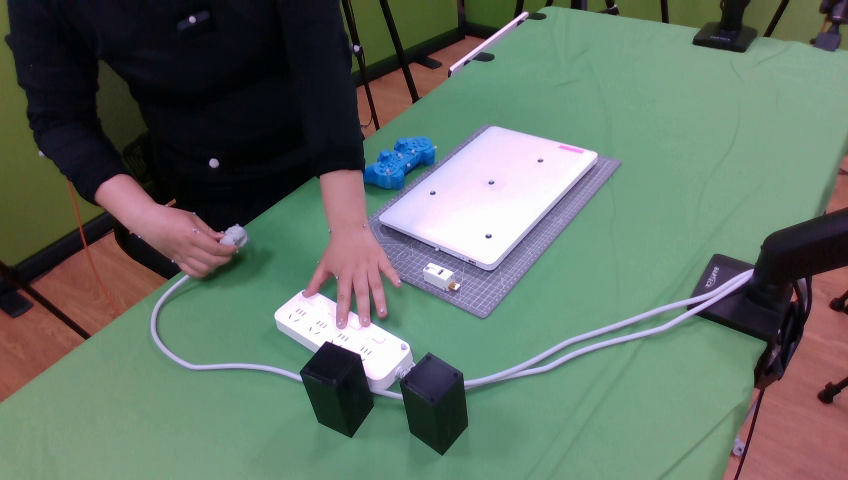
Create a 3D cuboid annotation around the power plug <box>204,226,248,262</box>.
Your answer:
[{"bbox_3d":[-0.315,0.004,0.959,0.072,0.035,0.052,-22,5,-2],"label":"power plug"}]

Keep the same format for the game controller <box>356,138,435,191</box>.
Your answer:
[{"bbox_3d":[-0.049,-0.150,1.136,0.096,0.052,0.155,27,51,28],"label":"game controller"}]

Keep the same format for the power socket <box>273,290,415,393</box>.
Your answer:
[{"bbox_3d":[-0.115,0.133,0.820,0.225,0.033,0.072,24,47,32],"label":"power socket"}]

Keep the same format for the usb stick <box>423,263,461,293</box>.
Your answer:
[{"bbox_3d":[0.028,0.058,0.889,0.059,0.027,0.021,25,47,29],"label":"usb stick"}]

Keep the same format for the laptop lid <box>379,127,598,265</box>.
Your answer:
[{"bbox_3d":[0.117,-0.095,1.048,0.239,0.013,0.358,23,49,34],"label":"laptop lid"}]

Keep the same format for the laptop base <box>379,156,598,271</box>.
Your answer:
[{"bbox_3d":[0.120,-0.085,1.054,0.233,0.023,0.355,21,48,34],"label":"laptop base"}]
